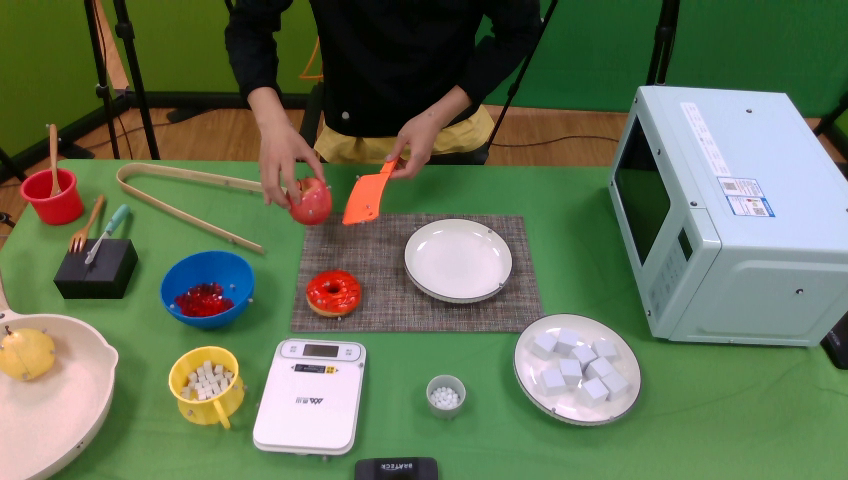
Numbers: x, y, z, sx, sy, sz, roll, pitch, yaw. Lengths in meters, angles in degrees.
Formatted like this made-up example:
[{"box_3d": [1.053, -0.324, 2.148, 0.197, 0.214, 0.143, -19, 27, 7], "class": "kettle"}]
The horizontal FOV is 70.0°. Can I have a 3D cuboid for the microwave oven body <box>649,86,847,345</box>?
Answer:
[{"box_3d": [0.567, -0.053, 1.118, 0.326, 0.261, 0.439, 2, 45, -1], "class": "microwave oven body"}]

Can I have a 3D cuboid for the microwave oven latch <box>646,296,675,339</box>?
[{"box_3d": [0.412, 0.134, 1.061, 0.030, 0.029, 0.078, 4, 45, 1], "class": "microwave oven latch"}]

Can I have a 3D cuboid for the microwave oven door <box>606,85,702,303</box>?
[{"box_3d": [0.422, -0.094, 1.140, 0.039, 0.245, 0.353, 2, 46, -1], "class": "microwave oven door"}]

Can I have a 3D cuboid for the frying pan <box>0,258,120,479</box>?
[{"box_3d": [-0.647, 0.164, 0.936, 0.307, 0.103, 0.485, -19, 58, -22], "class": "frying pan"}]

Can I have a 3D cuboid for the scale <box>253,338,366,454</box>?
[{"box_3d": [-0.175, 0.236, 0.951, 0.149, 0.032, 0.199, 4, 45, 0], "class": "scale"}]

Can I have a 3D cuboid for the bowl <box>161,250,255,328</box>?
[{"box_3d": [-0.362, 0.098, 1.040, 0.151, 0.077, 0.150, 2, 45, -2], "class": "bowl"}]

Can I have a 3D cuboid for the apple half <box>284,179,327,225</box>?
[{"box_3d": [-0.214, -0.061, 1.064, 0.053, 0.075, 0.080, -38, 54, -25], "class": "apple half"}]

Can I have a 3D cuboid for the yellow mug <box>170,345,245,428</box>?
[{"box_3d": [-0.322, 0.230, 0.922, 0.100, 0.064, 0.130, -24, 53, -25], "class": "yellow mug"}]

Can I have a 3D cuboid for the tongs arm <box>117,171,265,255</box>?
[{"box_3d": [-0.473, -0.054, 1.211, 0.386, 0.028, 0.028, 24, 57, 17], "class": "tongs arm"}]

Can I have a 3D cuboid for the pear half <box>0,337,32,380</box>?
[{"box_3d": [-0.631, 0.184, 0.921, 0.070, 0.088, 0.031, 29, 49, 19], "class": "pear half"}]

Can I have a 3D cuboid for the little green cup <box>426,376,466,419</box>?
[{"box_3d": [0.033, 0.248, 0.950, 0.061, 0.039, 0.061, 2, 46, -2], "class": "little green cup"}]

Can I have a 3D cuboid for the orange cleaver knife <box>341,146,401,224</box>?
[{"box_3d": [-0.098, -0.107, 1.148, 0.077, 0.012, 0.210, 3, 48, 20], "class": "orange cleaver knife"}]

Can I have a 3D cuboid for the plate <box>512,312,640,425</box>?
[{"box_3d": [0.246, 0.213, 0.999, 0.208, 0.039, 0.206, 2, 46, -2], "class": "plate"}]

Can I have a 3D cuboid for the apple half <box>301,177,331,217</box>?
[{"box_3d": [-0.187, -0.081, 1.081, 0.033, 0.082, 0.081, -39, 59, -24], "class": "apple half"}]

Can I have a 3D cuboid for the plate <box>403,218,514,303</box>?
[{"box_3d": [0.064, 0.042, 1.146, 0.209, 0.038, 0.208, 2, 46, -2], "class": "plate"}]

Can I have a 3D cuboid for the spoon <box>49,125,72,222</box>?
[{"box_3d": [-0.718, -0.131, 1.189, 0.041, 0.021, 0.193, -4, 91, -6], "class": "spoon"}]

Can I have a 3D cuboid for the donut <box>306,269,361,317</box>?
[{"box_3d": [-0.160, 0.094, 1.075, 0.099, 0.048, 0.098, 4, 46, -3], "class": "donut"}]

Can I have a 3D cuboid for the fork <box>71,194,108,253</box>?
[{"box_3d": [-0.634, -0.036, 1.158, 0.028, 0.019, 0.206, -8, 32, -8], "class": "fork"}]

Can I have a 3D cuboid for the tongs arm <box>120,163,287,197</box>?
[{"box_3d": [-0.444, -0.114, 1.266, 0.384, 0.026, 0.050, 12, 51, 7], "class": "tongs arm"}]

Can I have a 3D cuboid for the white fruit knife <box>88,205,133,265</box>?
[{"box_3d": [-0.584, -0.013, 1.129, 0.016, 0.027, 0.206, 0, 32, -5], "class": "white fruit knife"}]

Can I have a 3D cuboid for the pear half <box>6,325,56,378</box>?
[{"box_3d": [-0.608, 0.158, 0.935, 0.076, 0.110, 0.056, 31, 51, 20], "class": "pear half"}]
